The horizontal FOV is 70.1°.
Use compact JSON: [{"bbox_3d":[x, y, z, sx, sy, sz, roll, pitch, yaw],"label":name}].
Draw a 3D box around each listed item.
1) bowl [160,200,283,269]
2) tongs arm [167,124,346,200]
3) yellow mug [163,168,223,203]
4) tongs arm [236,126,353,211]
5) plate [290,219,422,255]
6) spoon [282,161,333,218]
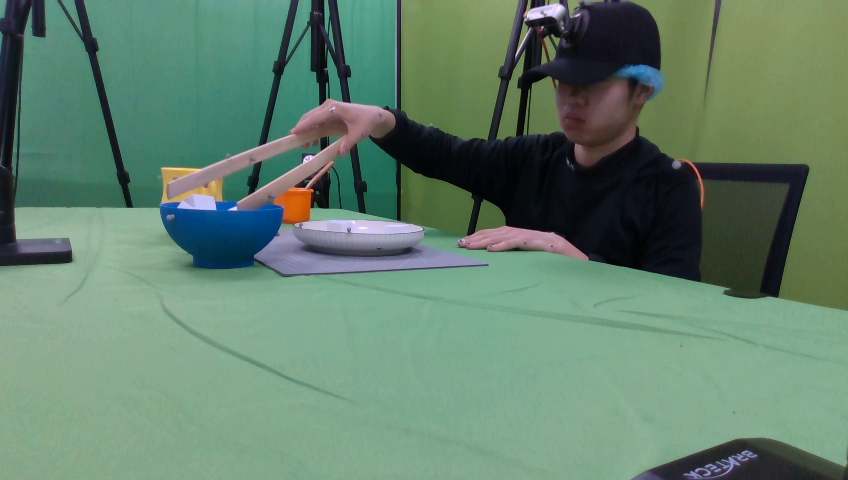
[{"bbox_3d":[-0.260,-0.007,0.783,0.151,0.077,0.151,3,8,0],"label":"bowl"},{"bbox_3d":[-0.239,-0.130,0.947,0.050,0.026,0.386,16,28,18],"label":"tongs arm"},{"bbox_3d":[-0.383,-0.087,1.026,0.130,0.064,0.100,11,11,44],"label":"yellow mug"},{"bbox_3d":[-0.184,-0.114,0.931,0.028,0.028,0.388,9,27,14],"label":"tongs arm"},{"bbox_3d":[-0.108,-0.005,0.963,0.208,0.039,0.207,3,7,0],"label":"plate"},{"bbox_3d":[-0.262,-0.115,1.359,0.041,0.194,0.022,12,-33,38],"label":"spoon"}]
